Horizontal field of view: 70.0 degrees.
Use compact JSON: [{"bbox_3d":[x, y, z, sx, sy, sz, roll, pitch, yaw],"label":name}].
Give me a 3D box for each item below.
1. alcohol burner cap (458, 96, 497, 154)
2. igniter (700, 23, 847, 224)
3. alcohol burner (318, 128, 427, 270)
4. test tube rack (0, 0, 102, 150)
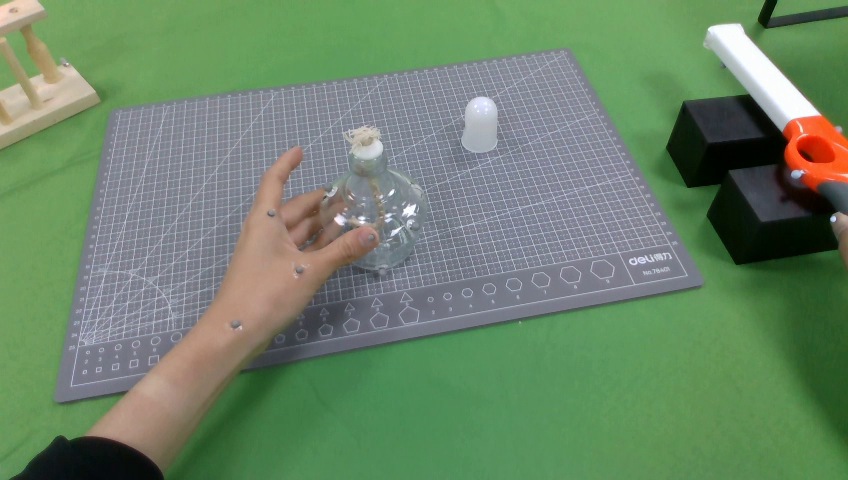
[{"bbox_3d":[0.047,-0.101,0.519,0.034,0.048,0.033,0,51,0],"label":"alcohol burner cap"},{"bbox_3d":[0.281,-0.077,0.445,0.057,0.025,0.273,-9,52,-6],"label":"igniter"},{"bbox_3d":[-0.037,-0.032,0.422,0.078,0.120,0.077,0,53,0],"label":"alcohol burner"},{"bbox_3d":[-0.421,-0.112,0.515,0.242,0.086,0.066,-36,59,-24],"label":"test tube rack"}]
